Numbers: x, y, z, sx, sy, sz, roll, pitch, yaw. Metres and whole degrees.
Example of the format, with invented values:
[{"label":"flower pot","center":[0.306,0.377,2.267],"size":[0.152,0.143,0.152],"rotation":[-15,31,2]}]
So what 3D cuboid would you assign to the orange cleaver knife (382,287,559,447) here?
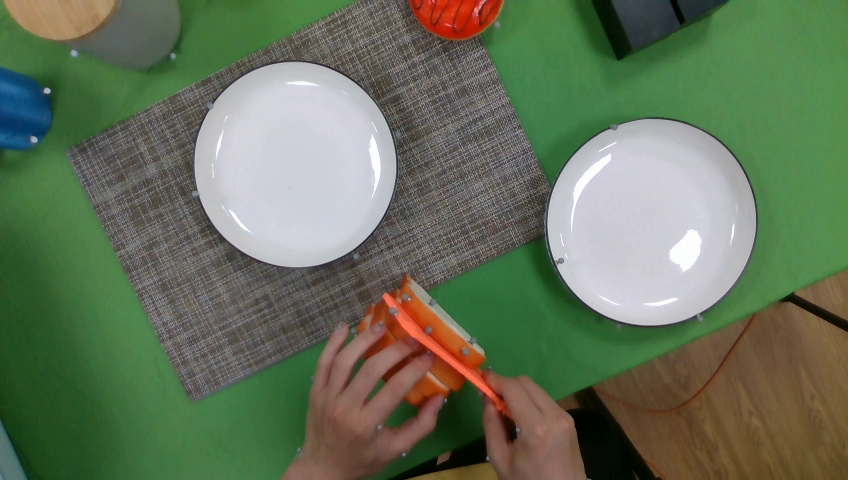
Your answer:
[{"label":"orange cleaver knife","center":[0.043,0.115,0.548],"size":[0.212,0.076,0.012],"rotation":[42,93,-17]}]

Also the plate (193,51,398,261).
[{"label":"plate","center":[-0.128,-0.083,0.622],"size":[0.207,0.039,0.208],"rotation":[0,95,2]}]

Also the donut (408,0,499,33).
[{"label":"donut","center":[0.029,-0.255,0.599],"size":[0.099,0.048,0.099],"rotation":[0,95,2]}]

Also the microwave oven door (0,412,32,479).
[{"label":"microwave oven door","center":[-0.479,0.200,0.540],"size":[0.039,0.243,0.356],"rotation":[-23,93,4]}]

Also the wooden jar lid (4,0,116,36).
[{"label":"wooden jar lid","center":[-0.307,-0.227,0.515],"size":[0.108,0.020,0.108],"rotation":[0,93,4]}]

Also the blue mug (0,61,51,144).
[{"label":"blue mug","center":[-0.453,-0.129,0.601],"size":[0.082,0.106,0.116],"rotation":[39,95,0]}]

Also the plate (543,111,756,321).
[{"label":"plate","center":[0.224,-0.024,0.615],"size":[0.209,0.038,0.209],"rotation":[0,94,3]}]

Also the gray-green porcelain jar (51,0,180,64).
[{"label":"gray-green porcelain jar","center":[-0.304,-0.230,0.577],"size":[0.106,0.126,0.106],"rotation":[0,93,3]}]

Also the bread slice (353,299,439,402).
[{"label":"bread slice","center":[-0.028,0.108,0.589],"size":[0.019,0.131,0.105],"rotation":[-44,90,5]}]

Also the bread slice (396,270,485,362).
[{"label":"bread slice","center":[0.015,0.076,0.585],"size":[0.107,0.134,0.018],"rotation":[41,90,-6]}]
